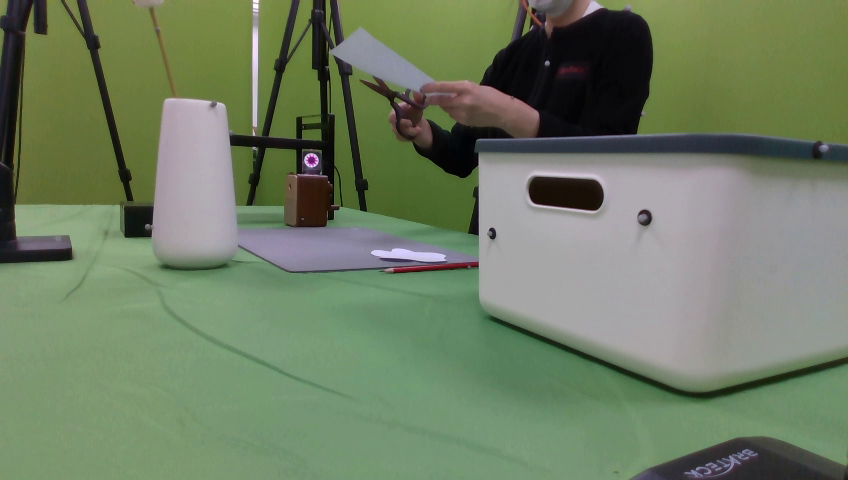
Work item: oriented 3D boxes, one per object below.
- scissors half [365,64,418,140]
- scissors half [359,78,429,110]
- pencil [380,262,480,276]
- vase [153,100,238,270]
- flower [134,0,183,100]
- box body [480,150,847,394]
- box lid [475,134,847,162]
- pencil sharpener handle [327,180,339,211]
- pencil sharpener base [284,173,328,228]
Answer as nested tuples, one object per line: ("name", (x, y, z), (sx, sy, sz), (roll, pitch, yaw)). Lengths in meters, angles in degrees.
("scissors half", (-0.060, -0.248, 1.097), (0.012, 0.176, 0.040), (10, 55, 43))
("scissors half", (-0.052, -0.271, 1.102), (0.013, 0.040, 0.176), (4, 2, 42))
("pencil", (0.030, 0.037, 0.795), (0.195, 0.012, 0.012), (-3, 10, -30))
("vase", (-0.278, -0.066, 0.736), (0.098, 0.200, 0.098), (2, 9, 0))
("flower", (-0.282, -0.147, 0.713), (0.038, 0.362, 0.044), (-23, 24, -31))
("box body", (0.254, 0.002, 0.539), (0.366, 0.160, 0.253), (-2, 8, -31))
("box lid", (0.256, -0.073, 0.528), (0.373, 0.015, 0.262), (-2, 8, -31))
("pencil sharpener handle", (-0.194, -0.094, 1.256), (0.031, 0.067, 0.036), (-2, -6, -36))
("pencil sharpener base", (-0.239, -0.081, 1.231), (0.077, 0.107, 0.061), (-2, 8, -36))
